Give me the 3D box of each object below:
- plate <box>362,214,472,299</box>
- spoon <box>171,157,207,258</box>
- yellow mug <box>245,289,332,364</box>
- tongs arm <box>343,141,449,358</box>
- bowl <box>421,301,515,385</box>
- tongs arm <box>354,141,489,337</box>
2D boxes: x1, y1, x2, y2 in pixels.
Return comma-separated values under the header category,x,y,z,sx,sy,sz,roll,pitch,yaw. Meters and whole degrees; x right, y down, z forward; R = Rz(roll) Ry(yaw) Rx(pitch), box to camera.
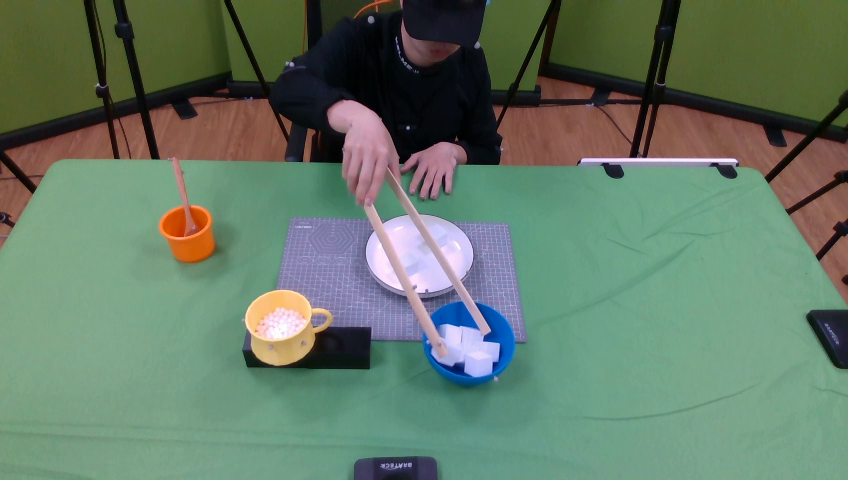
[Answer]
category,x,y,z,sx,sy,sz,roll,pitch,yaw
plate,-0.013,0.034,1.150,0.208,0.039,0.206,3,46,-2
spoon,-0.444,-0.061,1.133,0.042,0.193,0.021,-12,4,-20
yellow mug,-0.210,0.132,0.954,0.131,0.064,0.099,-9,48,-14
tongs arm,-0.044,0.008,0.981,0.051,0.026,0.383,-20,76,-36
bowl,0.068,0.181,0.990,0.151,0.077,0.150,3,46,-2
tongs arm,-0.004,-0.006,1.014,0.028,0.028,0.386,-27,80,-34
